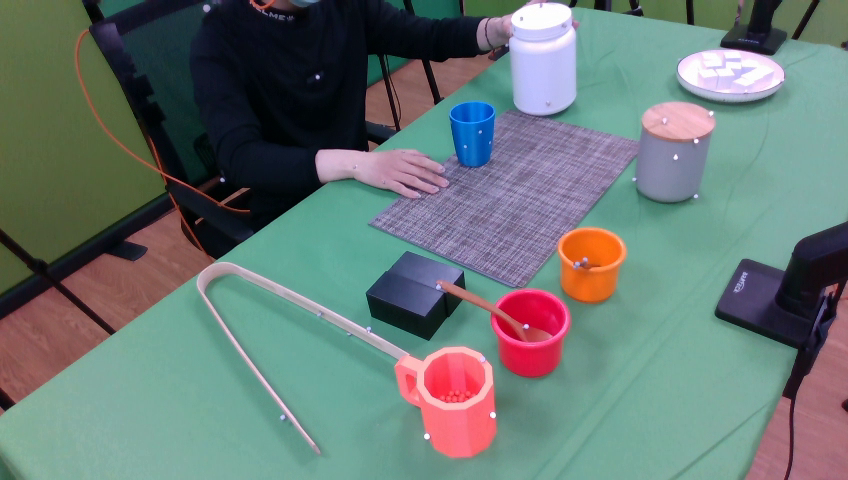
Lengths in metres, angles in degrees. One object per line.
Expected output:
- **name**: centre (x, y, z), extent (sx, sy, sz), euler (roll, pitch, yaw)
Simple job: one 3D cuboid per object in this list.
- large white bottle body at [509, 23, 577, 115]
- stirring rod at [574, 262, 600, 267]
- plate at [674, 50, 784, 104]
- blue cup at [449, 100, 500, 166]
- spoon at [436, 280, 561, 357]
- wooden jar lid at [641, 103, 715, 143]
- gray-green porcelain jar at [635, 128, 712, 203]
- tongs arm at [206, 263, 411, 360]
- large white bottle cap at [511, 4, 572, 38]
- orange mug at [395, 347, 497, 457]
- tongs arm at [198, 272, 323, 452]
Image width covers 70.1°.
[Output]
- **large white bottle body**: centre (0.241, -0.362, 1.222), extent (0.130, 0.185, 0.130), euler (-7, 42, 7)
- **stirring rod**: centre (0.222, 0.033, 0.816), extent (0.014, 0.006, 0.177), euler (7, 1, 22)
- **plate**: centre (0.631, -0.336, 1.262), extent (0.207, 0.039, 0.206), euler (-4, 41, 4)
- **blue cup**: centre (0.092, -0.194, 1.123), extent (0.092, 0.100, 0.092), euler (-3, 39, 3)
- **spoon**: centre (0.096, 0.095, 0.757), extent (0.195, 0.021, 0.041), euler (34, 41, -20)
- **wooden jar lid**: centre (0.398, -0.180, 0.952), extent (0.108, 0.021, 0.108), euler (-4, 43, 4)
- **gray-green porcelain jar**: centre (0.405, -0.133, 0.992), extent (0.106, 0.127, 0.105), euler (-4, 40, 4)
- **tongs arm**: centre (-0.179, 0.106, 0.870), extent (0.381, 0.026, 0.051), euler (23, 53, 32)
- **large white bottle cap**: centre (0.226, -0.424, 1.165), extent (0.115, 0.018, 0.114), euler (-7, 43, 7)
- **orange mug**: centre (0.024, 0.181, 0.703), extent (0.125, 0.101, 0.083), euler (21, 48, 23)
- **tongs arm**: centre (-0.236, 0.153, 0.829), extent (0.028, 0.028, 0.384), euler (-36, 47, -19)
